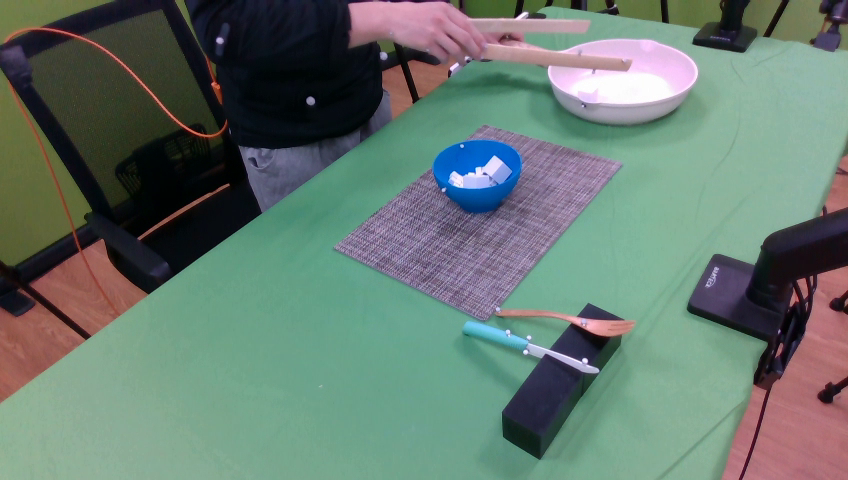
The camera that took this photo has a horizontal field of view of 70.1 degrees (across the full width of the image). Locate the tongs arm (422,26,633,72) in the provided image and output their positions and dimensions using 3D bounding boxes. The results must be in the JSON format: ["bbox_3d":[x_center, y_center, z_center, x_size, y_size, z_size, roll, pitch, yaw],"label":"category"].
[{"bbox_3d":[0.182,-0.314,1.005,0.387,0.026,0.050,-4,49,-24],"label":"tongs arm"}]

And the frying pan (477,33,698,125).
[{"bbox_3d":[0.321,-0.371,1.290,0.484,0.103,0.307,29,51,24],"label":"frying pan"}]

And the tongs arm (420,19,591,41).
[{"bbox_3d":[0.153,-0.366,1.050,0.390,0.028,0.028,-13,56,-32],"label":"tongs arm"}]

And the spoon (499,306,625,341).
[{"bbox_3d":[0.169,0.102,0.773,0.042,0.021,0.192,-10,13,-38],"label":"spoon"}]

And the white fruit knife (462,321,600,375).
[{"bbox_3d":[0.126,0.132,0.752,0.205,0.027,0.016,12,48,42],"label":"white fruit knife"}]

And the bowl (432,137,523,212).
[{"bbox_3d":[0.091,-0.100,1.022,0.151,0.077,0.150,-4,41,4],"label":"bowl"}]
